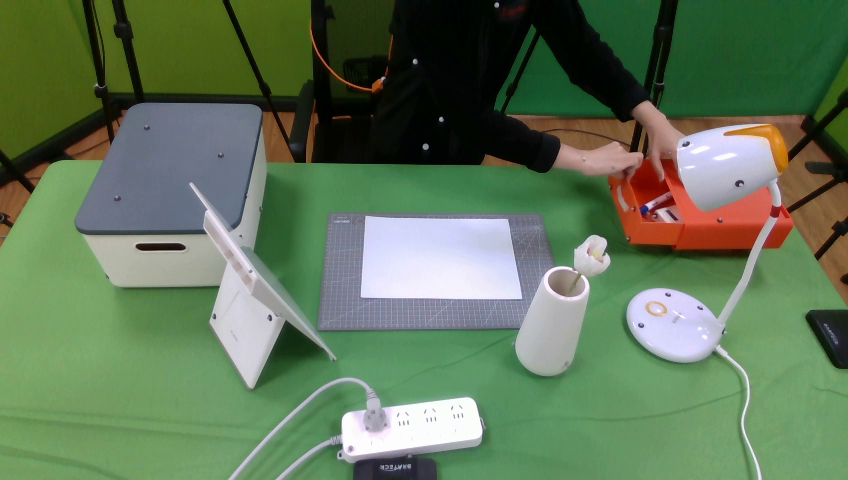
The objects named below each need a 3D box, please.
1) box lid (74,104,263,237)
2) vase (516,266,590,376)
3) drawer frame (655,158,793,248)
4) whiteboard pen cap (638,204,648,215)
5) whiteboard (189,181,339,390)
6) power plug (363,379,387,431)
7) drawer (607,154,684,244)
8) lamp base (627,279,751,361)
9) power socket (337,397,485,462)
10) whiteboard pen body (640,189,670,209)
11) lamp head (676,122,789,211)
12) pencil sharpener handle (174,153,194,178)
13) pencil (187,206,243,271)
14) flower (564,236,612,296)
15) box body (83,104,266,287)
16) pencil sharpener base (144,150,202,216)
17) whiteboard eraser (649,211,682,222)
[{"bbox_3d":[-0.443,-0.139,1.095,0.263,0.015,0.369,-1,45,-5],"label":"box lid"},{"bbox_3d":[0.208,0.132,0.965,0.098,0.201,0.097,3,46,-3],"label":"vase"},{"bbox_3d":[0.580,-0.077,1.215,0.214,0.083,0.200,0,45,-2],"label":"drawer frame"},{"bbox_3d":[0.432,-0.059,1.210,0.033,0.018,0.018,-27,54,-25],"label":"whiteboard pen cap"},{"bbox_3d":[-0.292,0.096,0.929,0.144,0.307,0.216,-37,57,-10],"label":"whiteboard"},{"bbox_3d":[-0.072,0.252,0.910,0.035,0.053,0.072,3,44,-1],"label":"power plug"},{"bbox_3d":[0.492,-0.080,1.207,0.212,0.073,0.193,3,45,-5],"label":"drawer"},{"bbox_3d":[0.459,0.100,1.027,0.178,0.181,0.160,27,51,17],"label":"lamp base"},{"bbox_3d":[-0.018,0.285,0.915,0.227,0.033,0.071,-5,46,-8],"label":"power socket"},{"bbox_3d":[0.480,-0.086,1.233,0.141,0.017,0.017,-26,54,-27],"label":"whiteboard pen body"},{"bbox_3d":[0.423,-0.104,0.819,0.122,0.113,0.112,-13,33,40],"label":"lamp head"},{"bbox_3d":[-0.479,-0.156,1.225,0.036,0.068,0.030,24,47,2],"label":"pencil sharpener handle"},{"bbox_3d":[-0.401,-0.009,1.176,0.012,0.012,0.193,15,44,10],"label":"pencil"},{"bbox_3d":[0.206,0.088,0.892,0.038,0.363,0.044,-17,67,-10],"label":"flower"},{"bbox_3d":[-0.447,-0.088,1.150,0.254,0.161,0.361,-1,46,-5],"label":"box body"},{"bbox_3d":[-0.493,-0.113,1.199,0.061,0.107,0.076,15,46,12],"label":"pencil sharpener base"},{"bbox_3d":[0.497,-0.022,1.202,0.113,0.042,0.055,13,28,-37],"label":"whiteboard eraser"}]
